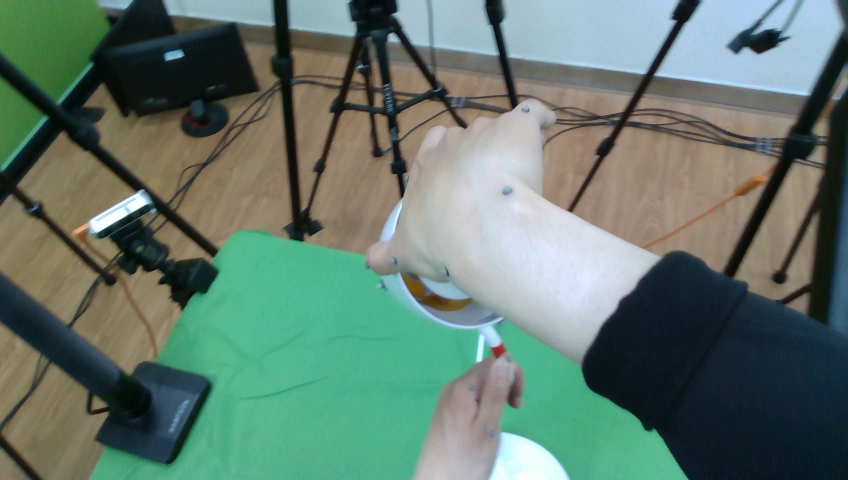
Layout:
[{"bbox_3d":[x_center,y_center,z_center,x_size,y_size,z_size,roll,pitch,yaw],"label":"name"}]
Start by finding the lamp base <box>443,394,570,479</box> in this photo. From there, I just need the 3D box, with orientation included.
[{"bbox_3d":[0.089,0.256,0.671,0.161,0.182,0.177,-23,54,-11],"label":"lamp base"}]

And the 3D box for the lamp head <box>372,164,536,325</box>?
[{"bbox_3d":[0.012,0.012,0.463,0.113,0.123,0.112,3,79,-17],"label":"lamp head"}]

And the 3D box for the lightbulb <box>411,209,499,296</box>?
[{"bbox_3d":[0.015,0.010,0.438,0.060,0.107,0.059,0,88,-17],"label":"lightbulb"}]
